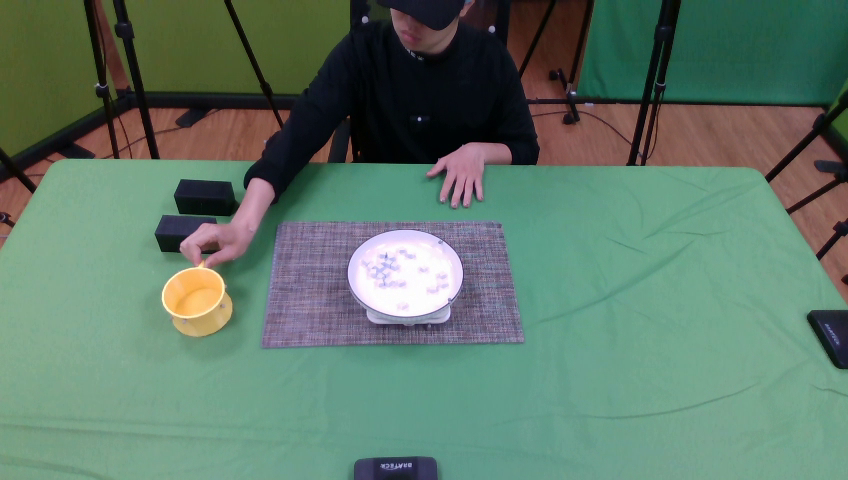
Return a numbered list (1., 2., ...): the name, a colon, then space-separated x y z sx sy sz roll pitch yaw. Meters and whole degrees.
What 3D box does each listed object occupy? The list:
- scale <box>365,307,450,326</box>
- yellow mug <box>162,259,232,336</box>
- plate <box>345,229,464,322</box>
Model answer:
1. scale: -0.032 0.071 1.113 0.149 0.032 0.199 1 46 -4
2. yellow mug: -0.383 0.091 1.036 0.100 0.064 0.130 0 53 -4
3. plate: -0.034 0.065 1.073 0.209 0.038 0.208 2 46 -2
